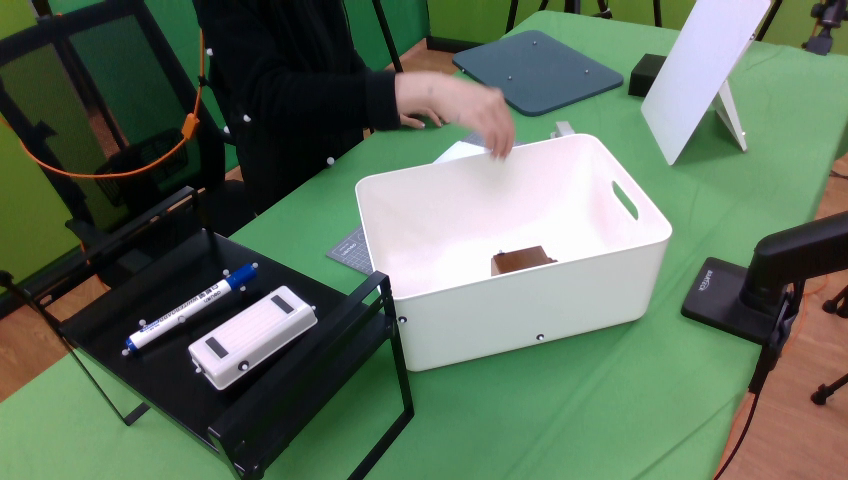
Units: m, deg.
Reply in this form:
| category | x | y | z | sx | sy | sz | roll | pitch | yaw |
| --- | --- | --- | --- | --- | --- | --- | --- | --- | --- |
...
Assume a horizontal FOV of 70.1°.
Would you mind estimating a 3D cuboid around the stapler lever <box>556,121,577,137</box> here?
| category | x | y | z | sx | sy | sz | roll | pitch | yaw |
| --- | --- | --- | --- | --- | --- | --- | --- | --- | --- |
| stapler lever | 0.266 | -0.198 | 1.128 | 0.027 | 0.040 | 0.117 | 0 | 38 | 3 |

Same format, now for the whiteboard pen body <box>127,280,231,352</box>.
| category | x | y | z | sx | sy | sz | roll | pitch | yaw |
| --- | --- | --- | --- | --- | --- | --- | --- | --- | --- |
| whiteboard pen body | -0.248 | 0.072 | 0.645 | 0.141 | 0.017 | 0.017 | -35 | 47 | -23 |

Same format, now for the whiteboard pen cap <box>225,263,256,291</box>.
| category | x | y | z | sx | sy | sz | roll | pitch | yaw |
| --- | --- | --- | --- | --- | --- | --- | --- | --- | --- |
| whiteboard pen cap | -0.204 | 0.041 | 0.668 | 0.033 | 0.018 | 0.018 | -36 | 48 | -22 |

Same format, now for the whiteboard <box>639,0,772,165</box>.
| category | x | y | z | sx | sy | sz | roll | pitch | yaw |
| --- | --- | --- | --- | --- | --- | --- | --- | --- | --- |
| whiteboard | 0.543 | -0.298 | 1.076 | 0.144 | 0.305 | 0.216 | 12 | 40 | -7 |

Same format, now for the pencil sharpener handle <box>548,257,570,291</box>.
| category | x | y | z | sx | sy | sz | roll | pitch | yaw |
| --- | --- | --- | --- | --- | --- | --- | --- | --- | --- |
| pencil sharpener handle | 0.182 | 0.045 | 0.801 | 0.031 | 0.068 | 0.035 | -12 | 57 | -7 |

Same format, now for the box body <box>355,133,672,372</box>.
| category | x | y | z | sx | sy | sz | roll | pitch | yaw |
| --- | --- | --- | --- | --- | --- | --- | --- | --- | --- |
| box body | 0.108 | 0.013 | 0.834 | 0.365 | 0.161 | 0.252 | -12 | 41 | -6 |

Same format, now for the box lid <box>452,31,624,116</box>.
| category | x | y | z | sx | sy | sz | roll | pitch | yaw |
| --- | --- | --- | --- | --- | --- | --- | --- | --- | --- |
| box lid | 0.256 | -0.401 | 1.419 | 0.264 | 0.015 | 0.368 | -22 | 43 | -17 |

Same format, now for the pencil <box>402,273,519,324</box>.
| category | x | y | z | sx | sy | sz | roll | pitch | yaw |
| --- | --- | --- | --- | --- | --- | --- | --- | --- | --- |
| pencil | 0.056 | 0.082 | 0.870 | 0.195 | 0.012 | 0.012 | -20 | 42 | -20 |

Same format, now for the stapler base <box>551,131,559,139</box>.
| category | x | y | z | sx | sy | sz | roll | pitch | yaw |
| --- | --- | --- | --- | --- | --- | --- | --- | --- | --- |
| stapler base | 0.268 | -0.178 | 1.142 | 0.041 | 0.024 | 0.130 | 0 | 37 | 3 |

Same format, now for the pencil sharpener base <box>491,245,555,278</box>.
| category | x | y | z | sx | sy | sz | roll | pitch | yaw |
| --- | --- | --- | --- | --- | --- | --- | --- | --- | --- |
| pencil sharpener base | 0.134 | 0.068 | 0.801 | 0.077 | 0.107 | 0.061 | -12 | 42 | -7 |

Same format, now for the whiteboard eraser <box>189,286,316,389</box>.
| category | x | y | z | sx | sy | sz | roll | pitch | yaw |
| --- | --- | --- | --- | --- | --- | --- | --- | --- | --- |
| whiteboard eraser | -0.166 | 0.096 | 0.593 | 0.113 | 0.042 | 0.055 | -36 | 47 | -29 |
